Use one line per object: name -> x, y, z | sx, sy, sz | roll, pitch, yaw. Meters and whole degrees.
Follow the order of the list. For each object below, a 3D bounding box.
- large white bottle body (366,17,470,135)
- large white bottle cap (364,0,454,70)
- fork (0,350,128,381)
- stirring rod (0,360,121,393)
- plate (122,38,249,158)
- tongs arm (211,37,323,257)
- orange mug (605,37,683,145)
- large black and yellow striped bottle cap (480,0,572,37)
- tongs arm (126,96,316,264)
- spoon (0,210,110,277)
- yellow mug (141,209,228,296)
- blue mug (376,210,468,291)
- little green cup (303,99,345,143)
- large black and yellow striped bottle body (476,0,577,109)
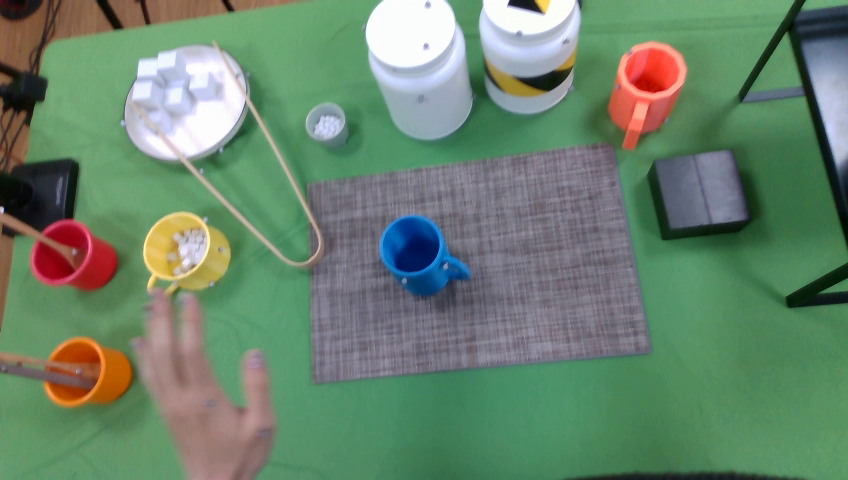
large white bottle body -> -0.007, -0.244, 0.844 | 0.130, 0.186, 0.130 | -2, 73, 8
large white bottle cap -> -0.020, -0.269, 0.763 | 0.114, 0.018, 0.114 | -2, 73, 8
fork -> -0.510, 0.163, 0.813 | 0.209, 0.018, 0.028 | 19, 70, -32
stirring rod -> -0.500, 0.180, 0.809 | 0.006, 0.178, 0.014 | -32, 46, 44
plate -> -0.376, -0.223, 0.969 | 0.207, 0.039, 0.206 | -2, 74, 8
tongs arm -> -0.239, -0.148, 0.909 | 0.028, 0.028, 0.385 | -28, 78, -9
orange mug -> 0.295, -0.199, 0.832 | 0.083, 0.101, 0.125 | 16, 72, 13
large black and yellow striped bottle cap -> 0.127, -0.306, 0.754 | 0.115, 0.019, 0.114 | -2, 73, 7
tongs arm -> -0.305, -0.097, 0.900 | 0.051, 0.026, 0.383 | -42, 79, -9
spoon -> -0.549, -0.005, 0.873 | 0.195, 0.021, 0.041 | 37, 76, -28
yellow mug -> -0.354, 0.025, 0.877 | 0.099, 0.064, 0.130 | 32, 81, 15
blue mug -> 0.003, 0.022, 0.801 | 0.116, 0.106, 0.082 | 18, 76, 13
little green cup -> -0.149, -0.178, 0.922 | 0.061, 0.039, 0.061 | -2, 74, 8
large black and yellow striped bottle body -> 0.140, -0.280, 0.834 | 0.130, 0.185, 0.130 | -2, 72, 8
